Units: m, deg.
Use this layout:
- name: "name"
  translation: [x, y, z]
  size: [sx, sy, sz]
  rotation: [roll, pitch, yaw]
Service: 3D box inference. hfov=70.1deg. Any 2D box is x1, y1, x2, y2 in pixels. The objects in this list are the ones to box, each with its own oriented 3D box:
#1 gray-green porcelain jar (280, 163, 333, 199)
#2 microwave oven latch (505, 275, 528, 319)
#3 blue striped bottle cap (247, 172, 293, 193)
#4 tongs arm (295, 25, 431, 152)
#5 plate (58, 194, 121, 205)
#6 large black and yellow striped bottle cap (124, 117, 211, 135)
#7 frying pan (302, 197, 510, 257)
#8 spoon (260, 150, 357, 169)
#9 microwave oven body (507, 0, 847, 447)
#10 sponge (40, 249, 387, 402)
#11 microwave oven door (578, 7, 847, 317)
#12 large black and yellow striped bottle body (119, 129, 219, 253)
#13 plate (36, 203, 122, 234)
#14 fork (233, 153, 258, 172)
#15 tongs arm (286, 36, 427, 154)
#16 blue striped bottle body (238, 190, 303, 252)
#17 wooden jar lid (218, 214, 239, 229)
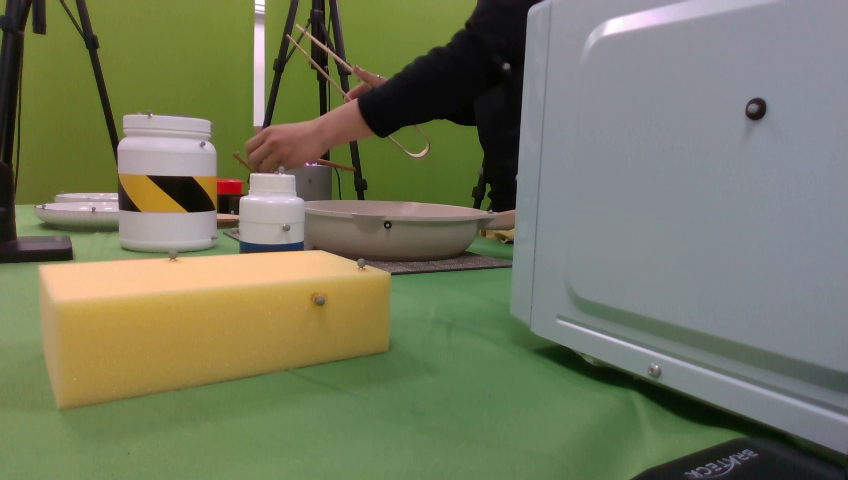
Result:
- name: "gray-green porcelain jar"
  translation: [-0.238, -0.091, 1.221]
  size: [0.106, 0.126, 0.106]
  rotation: [2, 7, 0]
- name: "microwave oven latch"
  translation: [0.100, 0.041, 0.471]
  size: [0.079, 0.029, 0.030]
  rotation: [-1, 7, -28]
- name: "blue striped bottle cap"
  translation: [-0.152, -0.057, 0.598]
  size: [0.044, 0.020, 0.044]
  rotation: [3, 6, 0]
- name: "tongs arm"
  translation: [-0.128, -0.323, 1.317]
  size: [0.386, 0.050, 0.026]
  rotation: [34, 10, -21]
- name: "plate"
  translation: [-0.671, -0.074, 1.310]
  size: [0.209, 0.038, 0.209]
  rotation: [2, 8, 0]
- name: "large black and yellow striped bottle cap"
  translation: [-0.366, -0.163, 0.866]
  size: [0.115, 0.019, 0.115]
  rotation: [3, 7, 0]
- name: "frying pan"
  translation: [0.051, -0.035, 0.915]
  size: [0.487, 0.102, 0.307]
  rotation: [-5, 7, 10]
- name: "spoon"
  translation: [-0.230, -0.162, 1.221]
  size: [0.194, 0.021, 0.041]
  rotation: [3, 0, -16]
- name: "microwave oven body"
  translation: [0.331, -0.042, 0.425]
  size: [0.444, 0.260, 0.324]
  rotation: [-2, 8, -31]
- name: "sponge"
  translation: [-0.142, 0.047, 0.420]
  size: [0.208, 0.061, 0.117]
  rotation: [-3, 8, -36]
- name: "microwave oven door"
  translation: [0.294, -0.067, 0.570]
  size: [0.358, 0.243, 0.039]
  rotation: [-3, 9, -31]
- name: "large black and yellow striped bottle body"
  translation: [-0.367, -0.080, 0.876]
  size: [0.131, 0.184, 0.130]
  rotation: [2, 7, 0]
- name: "plate"
  translation: [-0.571, -0.040, 1.083]
  size: [0.208, 0.039, 0.207]
  rotation: [2, 8, 0]
- name: "fork"
  translation: [-0.396, -0.143, 1.486]
  size: [0.028, 0.018, 0.208]
  rotation: [21, -26, 45]
- name: "tongs arm"
  translation: [-0.142, -0.308, 1.319]
  size: [0.389, 0.028, 0.027]
  rotation: [39, 5, -22]
- name: "blue striped bottle body"
  translation: [-0.153, -0.007, 0.606]
  size: [0.063, 0.120, 0.063]
  rotation: [2, 8, 0]
- name: "wooden jar lid"
  translation: [-0.404, -0.037, 1.169]
  size: [0.108, 0.020, 0.108]
  rotation: [3, 7, 0]
